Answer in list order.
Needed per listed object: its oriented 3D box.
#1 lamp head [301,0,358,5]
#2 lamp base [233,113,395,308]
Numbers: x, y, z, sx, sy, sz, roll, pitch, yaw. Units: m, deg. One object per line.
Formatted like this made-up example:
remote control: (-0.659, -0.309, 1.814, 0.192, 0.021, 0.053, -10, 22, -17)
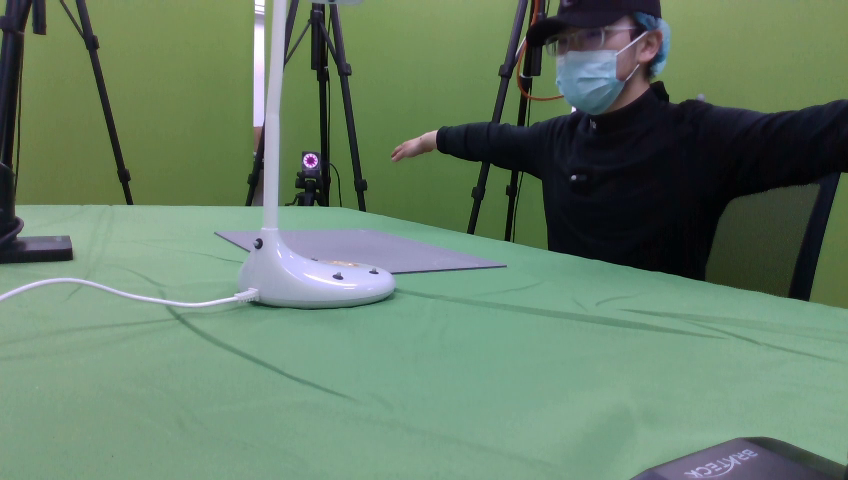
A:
lamp head: (-0.095, -0.314, 0.610, 0.112, 0.123, 0.112, -4, 50, 5)
lamp base: (-0.113, -0.033, 0.600, 0.160, 0.180, 0.180, 6, 11, 28)
